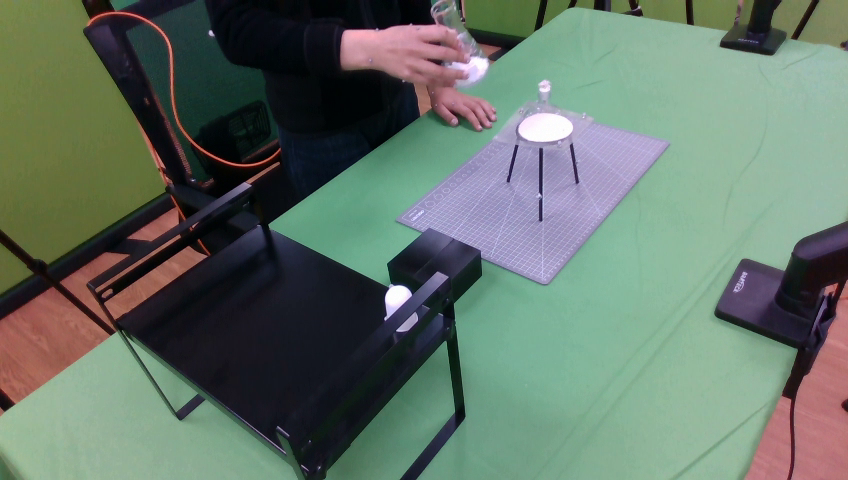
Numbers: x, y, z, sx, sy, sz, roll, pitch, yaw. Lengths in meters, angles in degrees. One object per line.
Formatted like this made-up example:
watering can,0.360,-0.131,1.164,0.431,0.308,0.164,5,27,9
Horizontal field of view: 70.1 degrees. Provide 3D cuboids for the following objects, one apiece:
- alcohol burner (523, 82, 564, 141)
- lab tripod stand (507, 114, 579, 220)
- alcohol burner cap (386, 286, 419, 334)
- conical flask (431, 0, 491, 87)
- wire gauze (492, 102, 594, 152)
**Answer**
alcohol burner,0.230,-0.251,1.161,0.078,0.119,0.077,-4,43,4
lab tripod stand,0.199,-0.128,1.005,0.148,0.132,0.147,-3,42,3
alcohol burner cap,-0.024,0.067,0.604,0.034,0.048,0.033,-4,40,4
conical flask,0.049,-0.294,0.899,0.075,0.123,0.075,-14,47,16
wire gauze,0.191,-0.180,0.964,0.120,0.011,0.125,19,48,28
